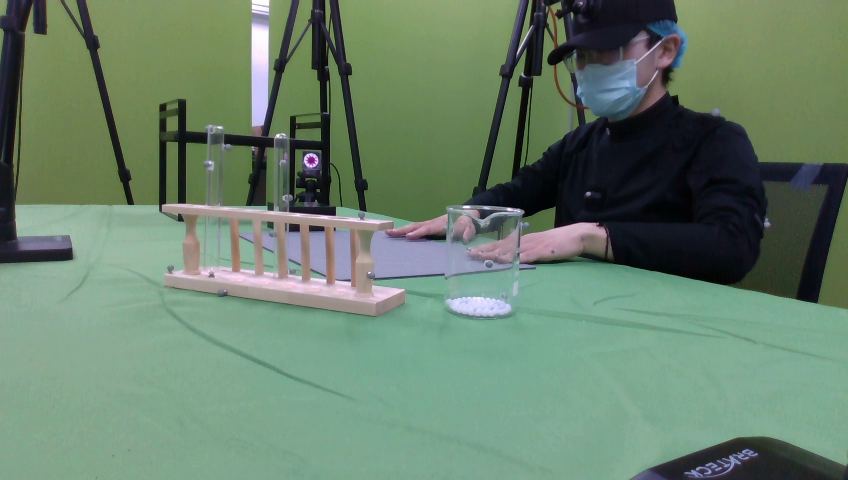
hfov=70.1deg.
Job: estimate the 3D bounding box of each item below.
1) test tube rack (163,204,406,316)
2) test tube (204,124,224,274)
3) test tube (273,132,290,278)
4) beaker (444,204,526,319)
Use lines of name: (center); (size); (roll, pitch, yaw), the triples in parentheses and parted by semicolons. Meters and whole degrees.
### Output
test tube rack: (-0.141, 0.013, 0.601); (0.241, 0.085, 0.067); (5, 8, 21)
test tube: (-0.210, -0.039, 0.604); (0.017, 0.150, 0.017); (5, 11, -1)
test tube: (-0.146, -0.034, 0.617); (0.017, 0.150, 0.017); (2, 8, 0)
beaker: (0.055, 0.019, 0.563); (0.074, 0.100, 0.084); (3, 8, 8)
